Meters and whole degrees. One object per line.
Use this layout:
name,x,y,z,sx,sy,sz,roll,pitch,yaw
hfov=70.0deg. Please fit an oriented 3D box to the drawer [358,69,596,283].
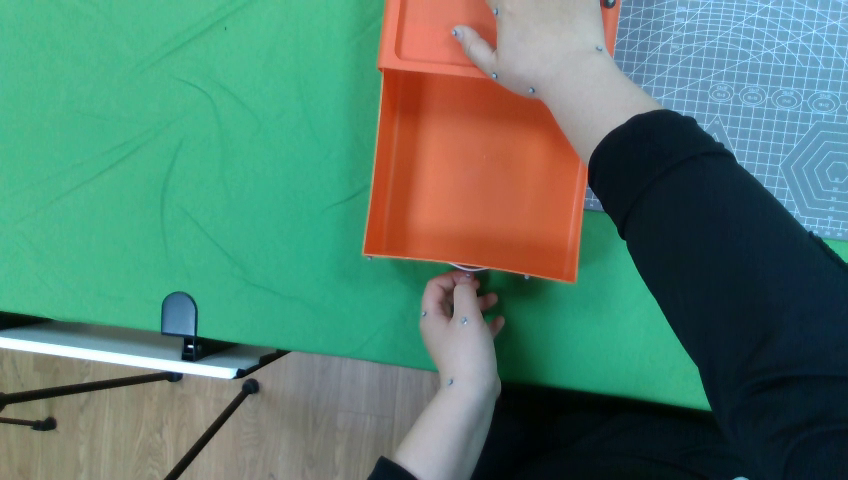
drawer,0.051,-0.076,0.559,0.194,0.073,0.212,7,95,10

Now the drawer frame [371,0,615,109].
drawer frame,0.068,-0.238,0.541,0.201,0.083,0.213,7,94,9
